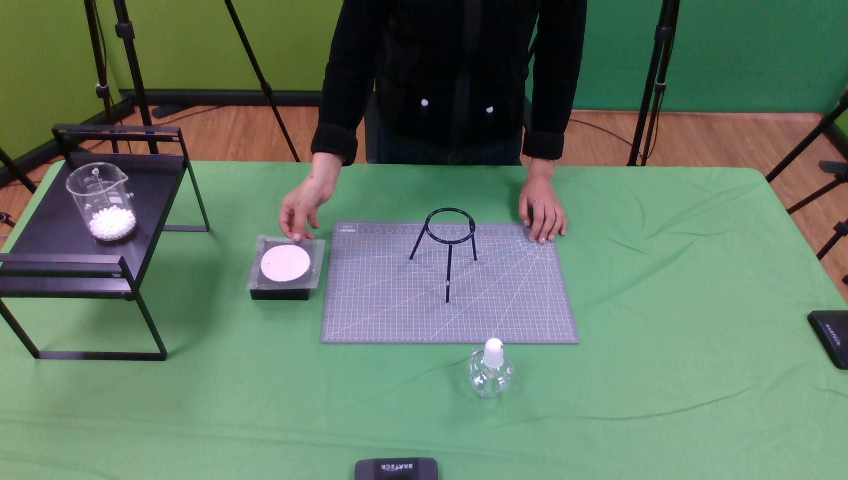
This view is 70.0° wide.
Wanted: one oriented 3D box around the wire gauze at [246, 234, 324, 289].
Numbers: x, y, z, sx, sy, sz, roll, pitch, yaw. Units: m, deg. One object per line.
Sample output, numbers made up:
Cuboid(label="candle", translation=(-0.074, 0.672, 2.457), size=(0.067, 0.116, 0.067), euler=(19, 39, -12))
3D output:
Cuboid(label="wire gauze", translation=(-0.245, 0.038, 1.081), size=(0.121, 0.011, 0.124), euler=(3, 47, -4))

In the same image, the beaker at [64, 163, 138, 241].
Cuboid(label="beaker", translation=(-0.478, -0.055, 0.910), size=(0.084, 0.101, 0.073), euler=(-9, 48, -13))

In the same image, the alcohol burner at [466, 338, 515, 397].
Cuboid(label="alcohol burner", translation=(0.106, 0.194, 0.952), size=(0.078, 0.120, 0.077), euler=(1, 45, 0))

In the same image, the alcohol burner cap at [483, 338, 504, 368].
Cuboid(label="alcohol burner cap", translation=(0.108, 0.170, 0.928), size=(0.034, 0.048, 0.033), euler=(-1, 41, 1))

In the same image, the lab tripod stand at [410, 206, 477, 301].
Cuboid(label="lab tripod stand", translation=(0.039, 0.015, 1.101), size=(0.148, 0.132, 0.147), euler=(1, 47, -1))
